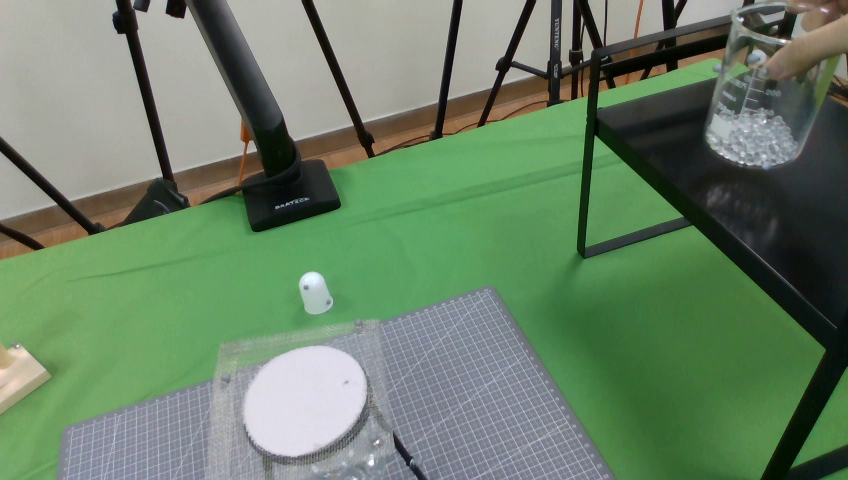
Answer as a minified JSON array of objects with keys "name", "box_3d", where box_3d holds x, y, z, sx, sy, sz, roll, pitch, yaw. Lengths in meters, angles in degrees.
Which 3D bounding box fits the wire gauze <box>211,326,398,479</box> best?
[{"name":"wire gauze","box_3d":[-0.083,0.113,0.418,0.121,0.011,0.123,-10,42,-3]}]

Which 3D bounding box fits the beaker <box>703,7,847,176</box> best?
[{"name":"beaker","box_3d":[0.245,-0.105,0.432,0.074,0.101,0.083,-24,45,-22]}]

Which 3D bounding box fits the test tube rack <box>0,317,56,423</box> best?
[{"name":"test tube rack","box_3d":[-0.491,0.174,0.560,0.066,0.086,0.242,24,50,32]}]

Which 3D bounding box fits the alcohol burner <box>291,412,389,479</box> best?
[{"name":"alcohol burner","box_3d":[-0.068,0.173,0.467,0.078,0.120,0.077,-6,39,5]}]

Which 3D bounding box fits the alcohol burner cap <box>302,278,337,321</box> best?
[{"name":"alcohol burner cap","box_3d":[-0.116,0.063,0.664,0.034,0.048,0.033,-5,41,5]}]

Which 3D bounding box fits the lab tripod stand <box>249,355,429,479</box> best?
[{"name":"lab tripod stand","box_3d":[-0.071,0.166,0.459,0.148,0.133,0.147,-4,42,4]}]
